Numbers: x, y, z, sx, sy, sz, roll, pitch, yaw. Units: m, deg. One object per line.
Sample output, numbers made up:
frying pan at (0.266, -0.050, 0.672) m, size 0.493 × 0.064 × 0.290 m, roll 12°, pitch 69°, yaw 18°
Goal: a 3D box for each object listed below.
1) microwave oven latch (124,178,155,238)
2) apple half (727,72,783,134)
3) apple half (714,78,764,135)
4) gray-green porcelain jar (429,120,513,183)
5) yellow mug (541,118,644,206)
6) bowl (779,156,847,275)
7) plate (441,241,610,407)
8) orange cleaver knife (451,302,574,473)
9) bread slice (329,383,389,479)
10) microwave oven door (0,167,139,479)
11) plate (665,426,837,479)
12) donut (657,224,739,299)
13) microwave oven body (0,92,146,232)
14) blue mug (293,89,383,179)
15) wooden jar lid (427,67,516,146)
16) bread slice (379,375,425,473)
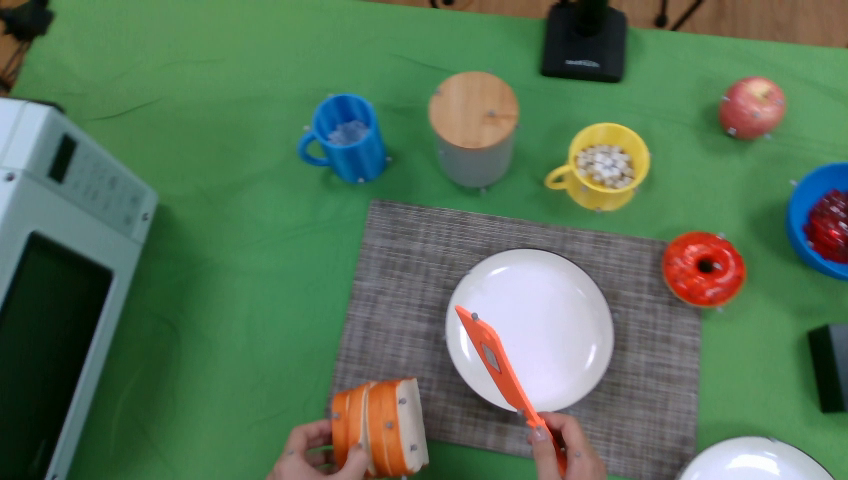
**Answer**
microwave oven latch at (-0.396, -0.045, 0.829) m, size 0.030 × 0.030 × 0.079 m, roll 12°, pitch 74°, yaw 7°
apple half at (0.448, -0.187, 0.818) m, size 0.053 × 0.075 × 0.080 m, roll -21°, pitch 68°, yaw -9°
apple half at (0.412, -0.172, 0.814) m, size 0.033 × 0.082 × 0.080 m, roll -22°, pitch 71°, yaw -8°
gray-green porcelain jar at (0.062, -0.141, 0.802) m, size 0.106 × 0.127 × 0.105 m, roll -1°, pitch 72°, yaw 4°
yellow mug at (0.221, -0.099, 0.810) m, size 0.131 × 0.064 × 0.099 m, roll -14°, pitch 72°, yaw 0°
bowl at (0.512, -0.021, 0.757) m, size 0.151 × 0.077 × 0.150 m, roll -1°, pitch 72°, yaw 4°
plate at (0.125, 0.104, 0.761) m, size 0.207 × 0.039 × 0.206 m, roll -1°, pitch 72°, yaw 4°
orange cleaver knife at (0.089, 0.150, 0.612) m, size 0.012 × 0.076 × 0.212 m, roll -37°, pitch 109°, yaw -19°
bread slice at (-0.070, 0.210, 0.675) m, size 0.018 × 0.135 × 0.106 m, roll -14°, pitch 72°, yaw 12°
microwave oven door at (-0.446, 0.128, 0.670) m, size 0.039 × 0.245 × 0.354 m, roll 9°, pitch 73°, yaw 7°
plate at (0.368, 0.317, 0.679) m, size 0.209 × 0.038 × 0.208 m, roll -1°, pitch 72°, yaw 4°
donut at (0.345, 0.027, 0.767) m, size 0.099 × 0.048 × 0.098 m, roll -1°, pitch 73°, yaw 4°
microwave oven body at (-0.580, 0.068, 0.703) m, size 0.325 × 0.262 × 0.439 m, roll 9°, pitch 73°, yaw 6°
blue mug at (-0.119, -0.137, 0.824) m, size 0.116 × 0.106 × 0.082 m, roll -16°, pitch 71°, yaw -1°
wooden jar lid at (0.058, -0.161, 0.743) m, size 0.108 × 0.021 × 0.107 m, roll -1°, pitch 70°, yaw 4°
bread slice at (-0.023, 0.201, 0.664) m, size 0.019 × 0.132 × 0.104 m, roll -11°, pitch 77°, yaw 7°
